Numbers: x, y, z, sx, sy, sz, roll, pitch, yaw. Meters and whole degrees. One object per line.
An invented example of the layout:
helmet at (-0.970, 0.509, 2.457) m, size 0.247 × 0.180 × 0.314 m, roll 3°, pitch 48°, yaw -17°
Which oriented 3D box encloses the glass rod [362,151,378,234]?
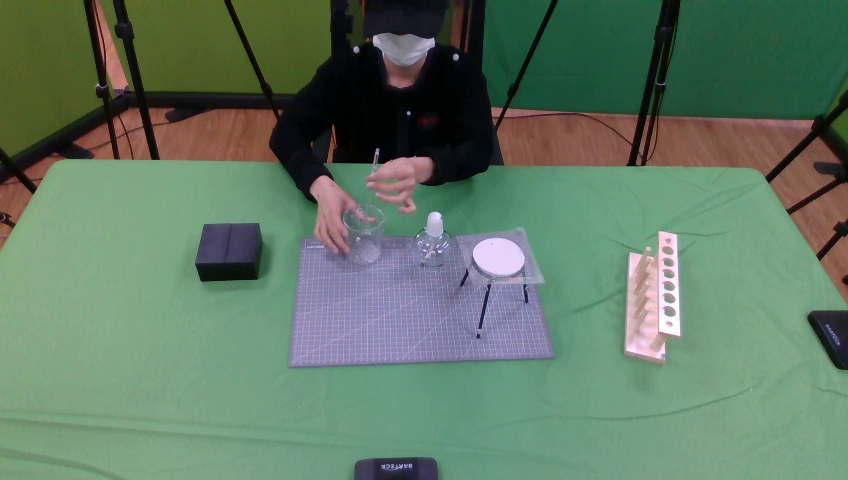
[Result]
glass rod at (-0.096, -0.078, 1.066) m, size 0.008 × 0.200 × 0.008 m, roll 7°, pitch 47°, yaw -8°

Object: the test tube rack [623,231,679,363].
test tube rack at (0.410, 0.094, 1.096) m, size 0.066 × 0.085 × 0.241 m, roll 13°, pitch 46°, yaw 9°

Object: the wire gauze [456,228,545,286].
wire gauze at (0.126, 0.029, 1.006) m, size 0.125 × 0.011 × 0.120 m, roll -4°, pitch 46°, yaw -10°

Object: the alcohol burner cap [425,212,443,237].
alcohol burner cap at (0.019, -0.032, 1.114) m, size 0.034 × 0.048 × 0.033 m, roll 0°, pitch 48°, yaw 0°

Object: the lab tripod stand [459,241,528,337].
lab tripod stand at (0.122, 0.075, 1.054) m, size 0.148 × 0.132 × 0.147 m, roll 3°, pitch 44°, yaw -3°

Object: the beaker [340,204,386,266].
beaker at (-0.114, -0.008, 1.140) m, size 0.084 × 0.101 × 0.073 m, roll -3°, pitch 46°, yaw -8°

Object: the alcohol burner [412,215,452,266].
alcohol burner at (0.017, -0.006, 1.139) m, size 0.078 × 0.119 × 0.077 m, roll 2°, pitch 48°, yaw -2°
